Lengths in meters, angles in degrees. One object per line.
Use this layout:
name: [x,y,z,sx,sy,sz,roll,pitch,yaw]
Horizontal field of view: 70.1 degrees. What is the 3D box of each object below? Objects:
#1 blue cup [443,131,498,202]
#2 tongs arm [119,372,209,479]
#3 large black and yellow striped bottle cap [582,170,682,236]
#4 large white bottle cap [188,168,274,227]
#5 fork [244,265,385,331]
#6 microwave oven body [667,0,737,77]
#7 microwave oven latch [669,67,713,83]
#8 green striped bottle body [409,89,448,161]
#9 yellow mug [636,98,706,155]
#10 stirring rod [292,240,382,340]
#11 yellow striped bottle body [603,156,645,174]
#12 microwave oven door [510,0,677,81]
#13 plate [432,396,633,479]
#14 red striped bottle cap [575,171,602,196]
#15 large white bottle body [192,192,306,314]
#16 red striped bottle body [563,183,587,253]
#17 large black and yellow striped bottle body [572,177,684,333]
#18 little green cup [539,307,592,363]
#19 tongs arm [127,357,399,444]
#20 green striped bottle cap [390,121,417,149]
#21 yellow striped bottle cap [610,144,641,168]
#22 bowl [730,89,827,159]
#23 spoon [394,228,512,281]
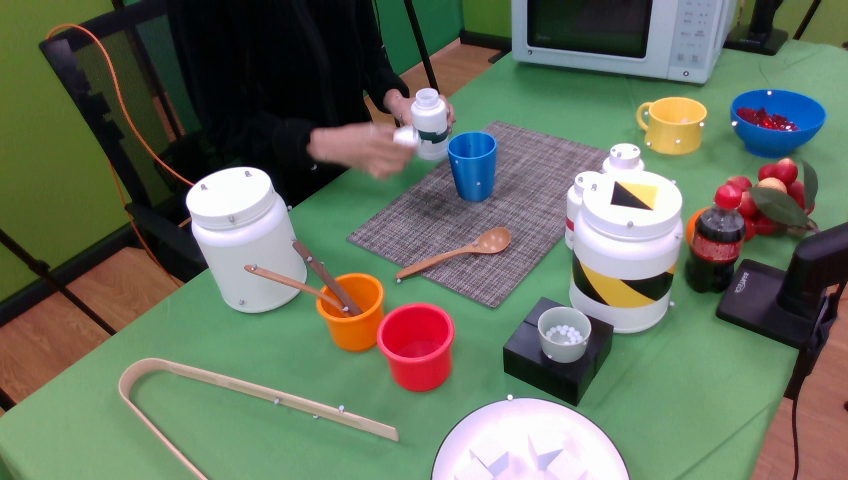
blue cup: [0.087,-0.122,1.040,0.092,0.101,0.092,-5,41,5]
tongs arm: [-0.258,0.257,0.700,0.384,0.028,0.028,24,55,34]
large black and yellow striped bottle cap: [0.252,-0.048,0.735,0.115,0.019,0.114,-3,40,3]
large white bottle cap: [-0.264,-0.061,0.831,0.115,0.018,0.114,-4,40,4]
fork: [-0.142,0.078,0.806,0.209,0.018,0.028,30,32,-23]
microwave oven body: [0.462,-0.552,1.368,0.439,0.261,0.326,15,45,26]
microwave oven latch: [0.556,-0.349,1.261,0.078,0.029,0.030,16,46,27]
green striped bottle body: [0.009,-0.205,1.070,0.063,0.120,0.063,-4,44,4]
yellow mug: [0.453,-0.217,1.129,0.100,0.064,0.129,-34,46,-27]
stirring rod: [-0.119,0.068,0.826,0.176,0.006,0.014,49,58,-4]
yellow striped bottle body: [0.313,-0.089,0.955,0.063,0.121,0.062,-5,39,4]
microwave oven door: [0.354,-0.478,1.290,0.353,0.245,0.039,15,45,25]
plate: [0.112,0.261,0.634,0.209,0.038,0.208,-5,40,4]
red striped bottle cap: [0.242,-0.081,0.876,0.044,0.018,0.044,-5,44,5]
large white bottle body: [-0.256,0.004,0.885,0.130,0.185,0.130,-4,40,4]
red striped bottle body: [0.246,-0.041,0.910,0.063,0.120,0.062,-2,38,2]
large black and yellow striped bottle body: [0.262,0.017,0.788,0.131,0.185,0.130,-5,40,4]
little green cup: [0.169,0.115,0.721,0.061,0.039,0.061,-4,42,4]
tongs arm: [-0.213,0.205,0.755,0.382,0.026,0.051,12,46,23]
green striped bottle cap: [-0.033,-0.168,0.968,0.044,0.020,0.044,1,67,-1]
yellow striped bottle cap: [0.307,-0.128,0.923,0.044,0.019,0.044,-6,39,5]
bowl: [0.615,-0.197,1.069,0.151,0.077,0.150,-5,40,5]
spoon: [0.045,0.024,0.935,0.194,0.022,0.041,-18,66,-11]
